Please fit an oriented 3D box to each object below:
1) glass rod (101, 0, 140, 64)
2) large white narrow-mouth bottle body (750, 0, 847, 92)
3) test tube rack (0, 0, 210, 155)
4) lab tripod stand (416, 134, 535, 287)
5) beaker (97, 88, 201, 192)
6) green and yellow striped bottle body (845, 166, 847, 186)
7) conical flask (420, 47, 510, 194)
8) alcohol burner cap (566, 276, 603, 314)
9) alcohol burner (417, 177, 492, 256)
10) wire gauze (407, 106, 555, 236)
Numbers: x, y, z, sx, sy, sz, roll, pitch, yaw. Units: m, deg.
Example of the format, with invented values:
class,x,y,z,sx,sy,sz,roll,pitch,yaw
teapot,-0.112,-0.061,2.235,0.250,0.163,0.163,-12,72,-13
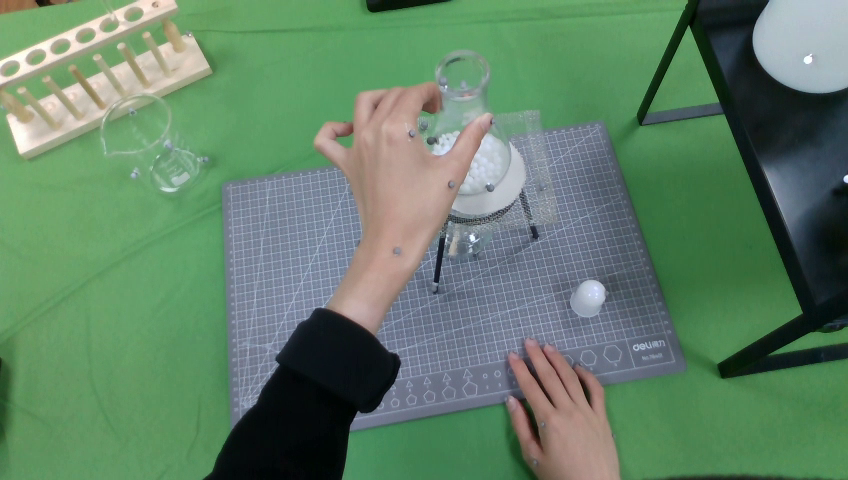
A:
class,x,y,z,sx,sy,sz,roll,pitch,yaw
glass rod,-0.353,-0.265,0.669,0.008,0.201,0.008,1,65,-2
large white narrow-mouth bottle body,0.325,-0.203,0.437,0.102,0.196,0.101,-1,65,2
test tube rack,-0.392,-0.199,0.715,0.242,0.086,0.066,-28,69,-10
lab tripod stand,0.045,-0.034,0.601,0.148,0.132,0.147,0,66,1
beaker,-0.297,-0.102,0.664,0.073,0.101,0.084,35,73,16
green and yellow striped bottle body,0.358,-0.067,0.418,0.063,0.120,0.062,-1,67,2
conical flask,0.030,-0.092,0.462,0.075,0.123,0.075,-2,68,5
alcohol burner cap,0.164,0.052,0.611,0.034,0.048,0.033,-1,68,2
alcohol burner,0.032,-0.030,0.611,0.078,0.120,0.077,0,66,0
wire gauze,0.049,-0.066,0.541,0.121,0.011,0.124,-4,68,-1
